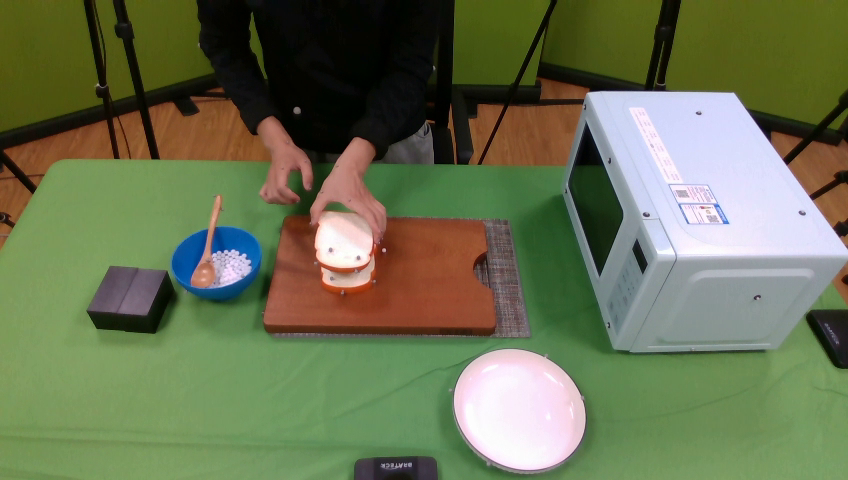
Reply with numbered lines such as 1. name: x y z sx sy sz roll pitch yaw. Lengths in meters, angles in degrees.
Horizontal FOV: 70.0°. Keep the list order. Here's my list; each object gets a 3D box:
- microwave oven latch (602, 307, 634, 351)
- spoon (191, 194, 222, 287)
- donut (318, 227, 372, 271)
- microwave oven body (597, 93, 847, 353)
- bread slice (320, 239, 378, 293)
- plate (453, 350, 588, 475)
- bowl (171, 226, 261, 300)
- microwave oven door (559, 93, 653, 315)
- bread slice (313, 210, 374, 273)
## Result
1. microwave oven latch: 0.332 0.153 1.044 0.030 0.029 0.078 -1 45 -4
2. spoon: -0.383 0.000 1.088 0.041 0.022 0.193 0 66 6
3. donut: -0.142 0.016 1.095 0.099 0.048 0.098 3 44 -2
4. microwave oven body: 0.475 -0.041 1.109 0.326 0.261 0.438 -1 45 -4
5. bread slice: -0.139 0.044 1.111 0.105 0.019 0.130 1 45 -2
6. plate: 0.147 0.267 0.943 0.208 0.039 0.206 2 45 -2
7. bowl: -0.363 0.054 1.081 0.151 0.077 0.150 3 45 -3
8. microwave oven door: 0.327 -0.074 1.123 0.039 0.245 0.353 -1 46 -5
9. bread slice: -0.140 0.000 1.069 0.107 0.018 0.133 -1 50 -7
